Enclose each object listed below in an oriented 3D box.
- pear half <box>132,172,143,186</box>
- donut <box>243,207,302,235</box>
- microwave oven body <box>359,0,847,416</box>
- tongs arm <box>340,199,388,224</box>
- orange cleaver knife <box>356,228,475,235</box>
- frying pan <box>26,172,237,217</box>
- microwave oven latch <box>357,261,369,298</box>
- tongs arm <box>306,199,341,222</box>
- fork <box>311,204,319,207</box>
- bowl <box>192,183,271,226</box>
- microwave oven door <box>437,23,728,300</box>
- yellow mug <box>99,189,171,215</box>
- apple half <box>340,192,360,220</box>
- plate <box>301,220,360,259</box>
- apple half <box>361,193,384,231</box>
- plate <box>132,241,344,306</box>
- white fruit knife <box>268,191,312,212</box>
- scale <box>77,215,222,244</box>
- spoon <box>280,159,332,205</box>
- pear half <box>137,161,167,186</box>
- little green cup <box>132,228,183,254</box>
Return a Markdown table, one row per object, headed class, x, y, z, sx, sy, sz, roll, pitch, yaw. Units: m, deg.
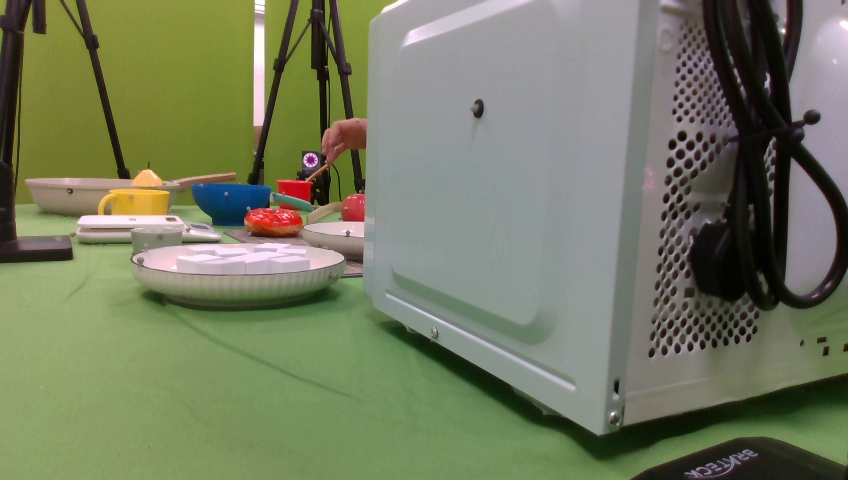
| class | x | y | z | sx | sy | sz | roll | pitch | yaw |
| --- | --- | --- | --- | --- | --- | --- | --- | --- | --- |
| pear half | -0.638 | -0.113 | 1.361 | 0.031 | 0.088 | 0.070 | 5 | 11 | 4 |
| donut | -0.261 | -0.032 | 1.043 | 0.099 | 0.048 | 0.099 | 4 | 9 | 0 |
| microwave oven body | 0.211 | -0.047 | 0.474 | 0.444 | 0.260 | 0.324 | -1 | 7 | -28 |
| tongs arm | -0.149 | -0.071 | 1.429 | 0.051 | 0.026 | 0.383 | -4 | 9 | -15 |
| orange cleaver knife | -0.017 | -0.016 | 1.080 | 0.211 | 0.012 | 0.077 | -1 | 1 | -2 |
| frying pan | -0.624 | -0.118 | 1.387 | 0.305 | 0.102 | 0.490 | 8 | 17 | 32 |
| microwave oven latch | -0.019 | 0.033 | 0.530 | 0.079 | 0.029 | 0.030 | -1 | 7 | -26 |
| tongs arm | -0.234 | -0.068 | 1.414 | 0.028 | 0.028 | 0.387 | -6 | 8 | 1 |
| fork | -0.356 | -0.105 | 1.526 | 0.208 | 0.018 | 0.028 | 16 | -5 | -41 |
| bowl | -0.382 | -0.071 | 1.202 | 0.151 | 0.077 | 0.151 | 3 | 7 | 0 |
| microwave oven door | 0.180 | -0.072 | 0.621 | 0.358 | 0.243 | 0.039 | -2 | 8 | -29 |
| yellow mug | -0.518 | -0.055 | 1.080 | 0.099 | 0.064 | 0.131 | 6 | 9 | 26 |
| apple half | -0.130 | -0.054 | 1.144 | 0.053 | 0.074 | 0.081 | 1 | 10 | 12 |
| plate | -0.077 | -0.002 | 0.893 | 0.209 | 0.038 | 0.209 | 3 | 8 | 0 |
| apple half | -0.093 | -0.053 | 1.137 | 0.033 | 0.081 | 0.081 | 1 | 7 | 13 |
| plate | -0.187 | 0.033 | 0.625 | 0.208 | 0.039 | 0.207 | 2 | 8 | 0 |
| white fruit knife | -0.364 | -0.105 | 1.464 | 0.208 | 0.027 | 0.016 | 15 | 0 | -34 |
| scale | -0.434 | -0.019 | 0.963 | 0.202 | 0.031 | 0.148 | -1 | 9 | -27 |
| spoon | -0.316 | -0.159 | 1.640 | 0.194 | 0.022 | 0.041 | -50 | 32 | -20 |
| pear half | -0.602 | -0.120 | 1.354 | 0.056 | 0.110 | 0.076 | 4 | 11 | 6 |
| little green cup | -0.342 | 0.006 | 0.779 | 0.061 | 0.038 | 0.061 | 2 | 8 | 0 |
